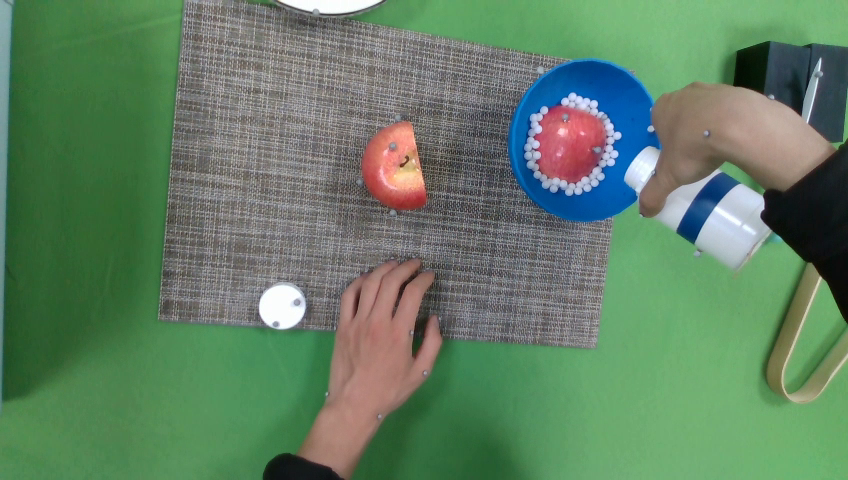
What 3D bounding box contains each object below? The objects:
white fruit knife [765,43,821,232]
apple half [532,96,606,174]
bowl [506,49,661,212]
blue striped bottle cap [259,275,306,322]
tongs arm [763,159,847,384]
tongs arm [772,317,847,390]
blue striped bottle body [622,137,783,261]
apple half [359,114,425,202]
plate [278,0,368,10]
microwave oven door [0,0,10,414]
[{"bbox_3d":[0.396,-0.102,0.648,0.016,0.027,0.208,2,113,5],"label":"white fruit knife"},{"bbox_3d":[0.146,-0.102,0.592,0.081,0.032,0.081,-1,95,-11],"label":"apple half"},{"bbox_3d":[0.144,-0.103,0.596,0.152,0.076,0.151,-1,96,-11],"label":"bowl"},{"bbox_3d":[-0.137,0.057,0.587,0.045,0.020,0.044,-1,96,-13],"label":"blue striped bottle cap"},{"bbox_3d":[0.479,-0.017,0.706,0.028,0.027,0.387,22,92,-15],"label":"tongs arm"},{"bbox_3d":[0.548,0.024,0.720,0.051,0.026,0.384,36,90,-12],"label":"tongs arm"},{"bbox_3d":[0.230,-0.041,0.514,0.120,0.063,0.063,40,87,24],"label":"blue striped bottle body"},{"bbox_3d":[-0.033,-0.073,0.565,0.053,0.074,0.081,-13,102,-6],"label":"apple half"},{"bbox_3d":[-0.099,-0.313,0.548,0.208,0.039,0.208,-1,97,-12],"label":"plate"},{"bbox_3d":[-0.352,-0.014,0.406,0.039,0.242,0.356,3,95,-12],"label":"microwave oven door"}]
